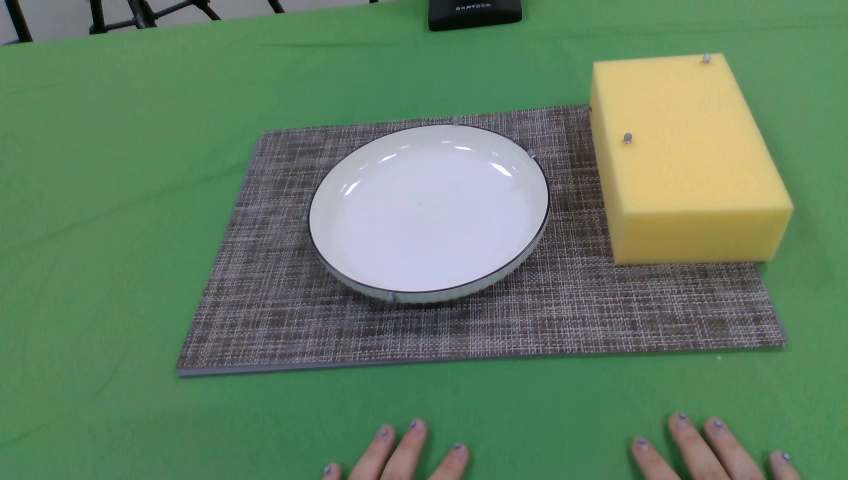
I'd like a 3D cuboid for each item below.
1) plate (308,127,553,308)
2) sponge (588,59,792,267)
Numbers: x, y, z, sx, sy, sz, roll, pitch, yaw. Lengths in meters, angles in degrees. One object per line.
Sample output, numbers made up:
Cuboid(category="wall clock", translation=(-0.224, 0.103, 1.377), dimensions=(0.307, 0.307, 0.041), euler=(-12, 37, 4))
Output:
Cuboid(category="plate", translation=(0.006, -0.020, 0.526), dimensions=(0.207, 0.039, 0.205), euler=(-5, 46, 6))
Cuboid(category="sponge", translation=(0.214, -0.073, 0.523), dimensions=(0.118, 0.061, 0.205), euler=(-2, 46, 8))
